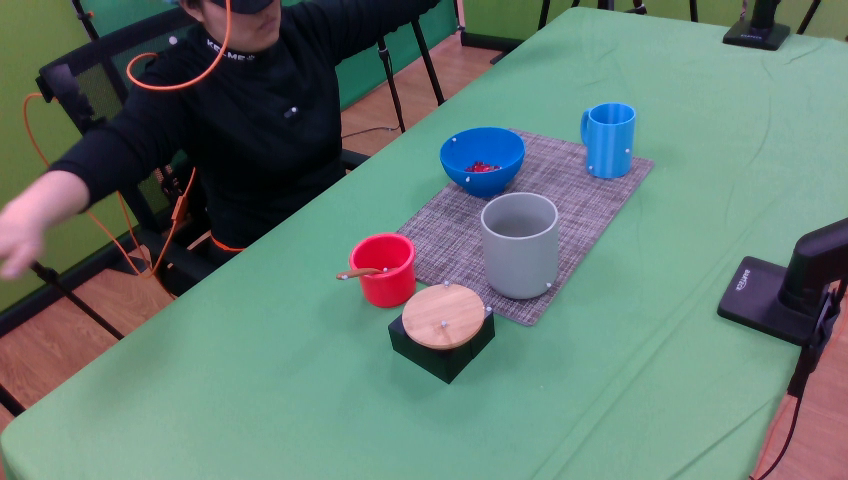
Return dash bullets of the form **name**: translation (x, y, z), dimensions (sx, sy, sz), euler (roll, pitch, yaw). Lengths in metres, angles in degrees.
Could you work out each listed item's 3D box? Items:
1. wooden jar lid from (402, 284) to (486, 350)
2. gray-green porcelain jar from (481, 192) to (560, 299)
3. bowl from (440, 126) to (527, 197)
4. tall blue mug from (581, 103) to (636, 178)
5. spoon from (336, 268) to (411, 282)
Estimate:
- **wooden jar lid**: translation (0.026, 0.101, 0.786), dimensions (0.108, 0.021, 0.108), euler (-5, 39, 4)
- **gray-green porcelain jar**: translation (0.138, 0.012, 0.858), dimensions (0.106, 0.127, 0.105), euler (-6, 40, 5)
- **bowl**: translation (0.107, -0.130, 1.070), dimensions (0.151, 0.077, 0.150), euler (-5, 40, 5)
- **tall blue mug**: translation (0.313, -0.178, 1.062), dimensions (0.106, 0.108, 0.078), euler (21, 50, 32)
- **spoon**: translation (-0.071, 0.047, 0.850), dimensions (0.041, 0.195, 0.021), euler (18, 93, 24)
